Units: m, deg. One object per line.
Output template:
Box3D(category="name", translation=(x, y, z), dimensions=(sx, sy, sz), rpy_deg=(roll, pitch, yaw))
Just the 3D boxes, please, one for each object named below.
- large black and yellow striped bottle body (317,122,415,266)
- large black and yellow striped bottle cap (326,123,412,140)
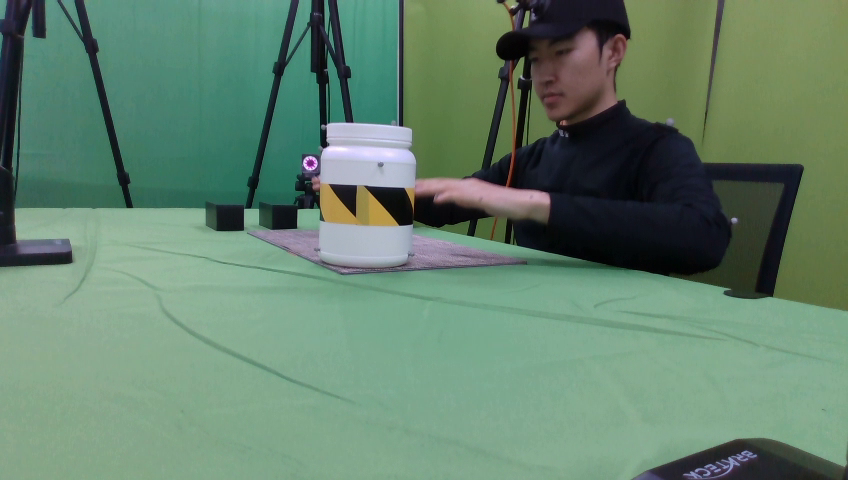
Box3D(category="large black and yellow striped bottle body", translation=(-0.078, -0.063, 0.824), dimensions=(0.131, 0.184, 0.130), rpy_deg=(2, 7, 0))
Box3D(category="large black and yellow striped bottle cap", translation=(-0.074, -0.145, 0.812), dimensions=(0.115, 0.019, 0.115), rpy_deg=(1, 7, 0))
